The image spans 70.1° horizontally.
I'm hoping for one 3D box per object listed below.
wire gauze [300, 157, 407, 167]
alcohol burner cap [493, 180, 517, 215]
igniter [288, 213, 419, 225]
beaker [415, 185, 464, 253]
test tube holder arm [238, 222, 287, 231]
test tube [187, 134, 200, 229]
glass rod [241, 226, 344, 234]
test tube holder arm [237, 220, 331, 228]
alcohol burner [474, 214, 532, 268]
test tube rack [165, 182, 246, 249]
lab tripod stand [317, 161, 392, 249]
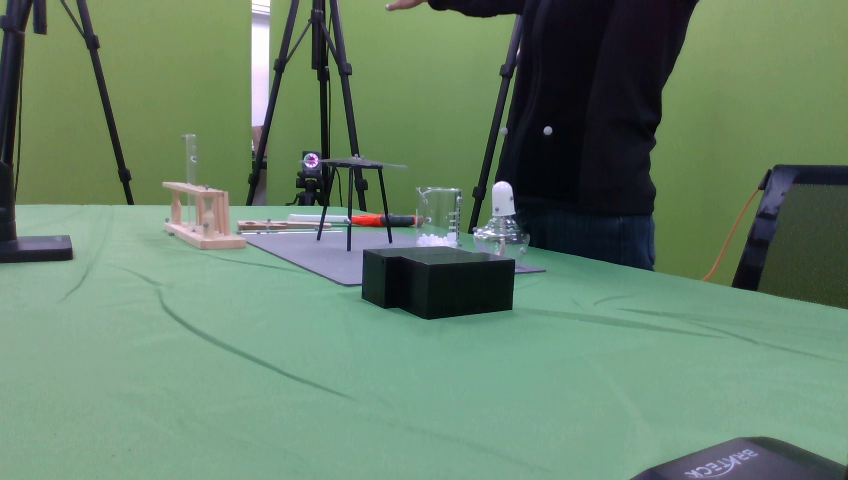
[{"bbox_3d":[-0.112,-0.125,0.957,0.121,0.011,0.126,11,11,42],"label":"wire gauze"},{"bbox_3d":[0.107,-0.057,0.812,0.034,0.048,0.034,-7,11,2],"label":"alcohol burner cap"},{"bbox_3d":[-0.145,-0.044,1.278,0.278,0.025,0.057,-1,-2,-21],"label":"igniter"},{"bbox_3d":[0.021,-0.033,0.938,0.073,0.100,0.084,7,10,36],"label":"beaker"},{"bbox_3d":[-0.296,-0.024,1.113,0.088,0.015,0.010,-2,42,-32],"label":"test tube holder arm"},{"bbox_3d":[-0.366,-0.092,0.959,0.017,0.150,0.017,0,3,0],"label":"test tube"},{"bbox_3d":[-0.239,-0.019,1.119,0.201,0.008,0.008,-3,9,-34],"label":"glass rod"},{"bbox_3d":[-0.260,-0.029,1.141,0.179,0.015,0.013,-2,42,-33],"label":"test tube holder arm"},{"bbox_3d":[0.107,-0.022,0.819,0.078,0.119,0.078,1,9,0],"label":"alcohol burner"},{"bbox_3d":[-0.360,-0.045,0.982,0.067,0.085,0.241,-3,9,-34],"label":"test tube rack"},{"bbox_3d":[-0.111,-0.059,0.963,0.148,0.131,0.148,4,8,0],"label":"lab tripod stand"}]
